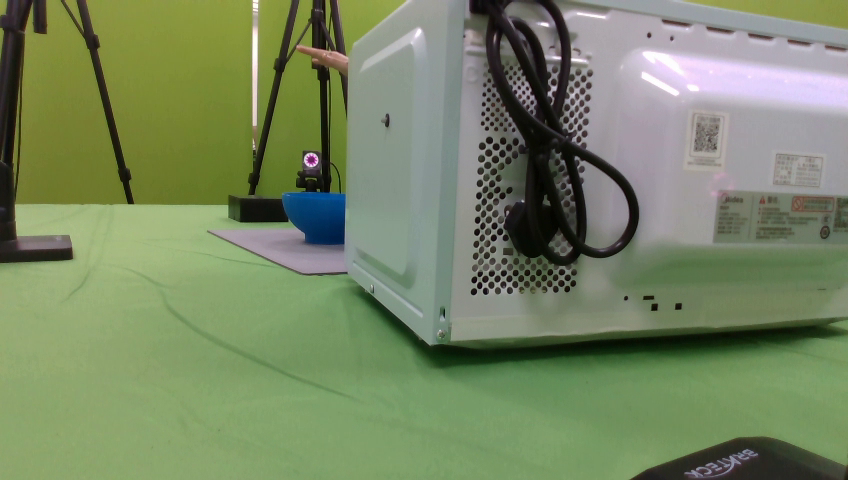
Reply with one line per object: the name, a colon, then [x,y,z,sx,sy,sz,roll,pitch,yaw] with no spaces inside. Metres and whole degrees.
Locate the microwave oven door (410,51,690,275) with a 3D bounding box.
microwave oven door: [0.161,-0.084,0.723,0.357,0.243,0.039,0,8,-20]

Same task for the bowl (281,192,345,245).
bowl: [-0.158,-0.035,0.991,0.151,0.077,0.151,3,7,0]

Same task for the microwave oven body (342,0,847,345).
microwave oven body: [0.169,-0.060,0.573,0.444,0.260,0.324,1,7,-20]

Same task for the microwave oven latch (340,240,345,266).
microwave oven latch: [-0.052,0.016,0.662,0.079,0.029,0.030,1,7,-19]
